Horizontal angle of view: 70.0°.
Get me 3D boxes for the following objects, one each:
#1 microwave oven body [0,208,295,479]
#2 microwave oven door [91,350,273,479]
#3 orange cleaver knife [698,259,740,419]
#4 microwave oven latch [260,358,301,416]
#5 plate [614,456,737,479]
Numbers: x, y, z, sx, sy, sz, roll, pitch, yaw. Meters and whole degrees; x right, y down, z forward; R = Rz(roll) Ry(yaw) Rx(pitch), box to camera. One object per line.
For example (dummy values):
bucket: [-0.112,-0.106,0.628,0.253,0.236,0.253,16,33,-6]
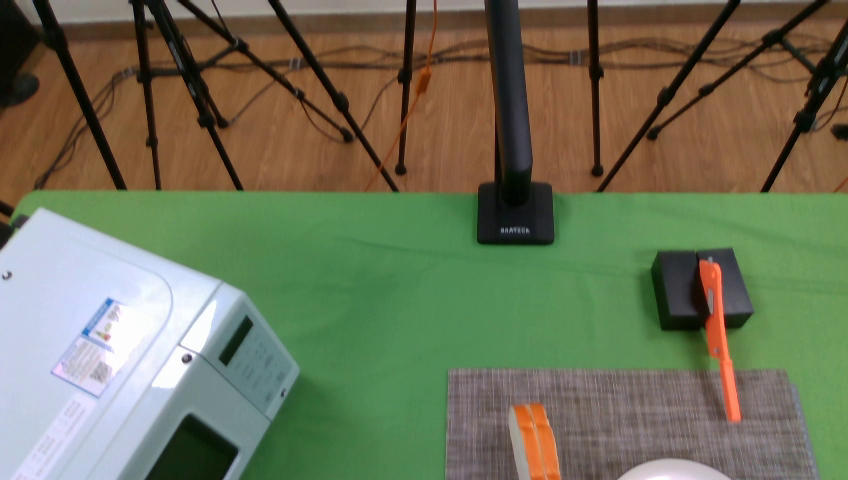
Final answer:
microwave oven body: [-0.413,0.237,0.697,0.324,0.262,0.439,19,63,16]
microwave oven door: [-0.299,0.312,0.633,0.039,0.246,0.354,18,62,17]
orange cleaver knife: [0.384,0.125,0.796,0.012,0.077,0.210,-5,79,6]
microwave oven latch: [-0.197,0.194,0.817,0.030,0.030,0.079,20,63,17]
plate: [0.295,0.354,0.685,0.207,0.039,0.205,-2,58,4]
